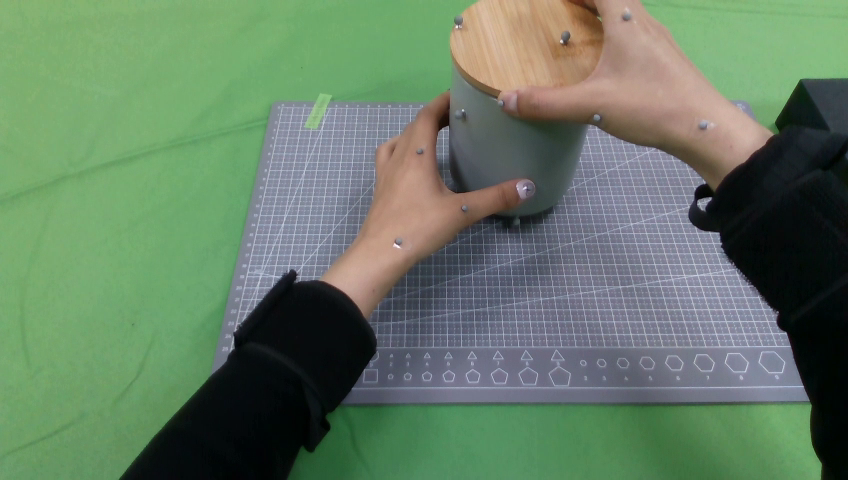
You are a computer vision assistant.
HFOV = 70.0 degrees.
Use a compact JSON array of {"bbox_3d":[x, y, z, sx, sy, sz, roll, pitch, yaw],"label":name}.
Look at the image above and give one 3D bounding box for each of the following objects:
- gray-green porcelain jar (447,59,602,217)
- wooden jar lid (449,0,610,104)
[{"bbox_3d":[0.071,-0.088,0.466,0.106,0.127,0.105,0,53,0],"label":"gray-green porcelain jar"},{"bbox_3d":[0.071,-0.128,0.414,0.108,0.021,0.107,0,55,1],"label":"wooden jar lid"}]
